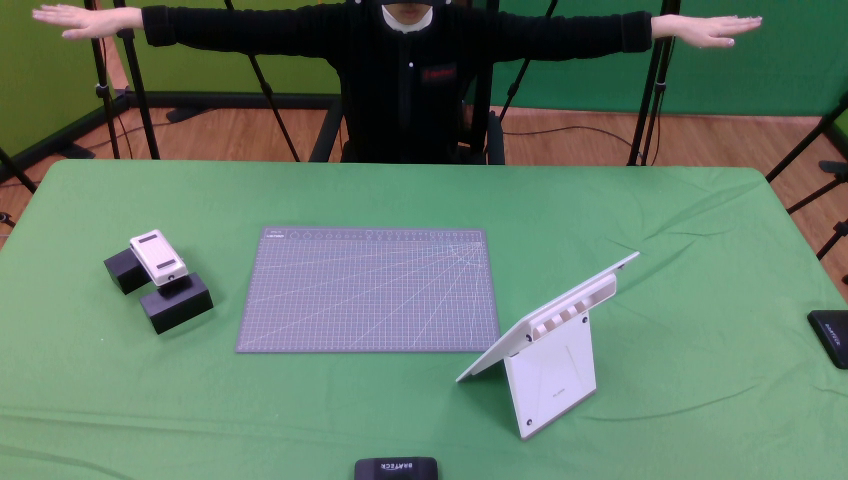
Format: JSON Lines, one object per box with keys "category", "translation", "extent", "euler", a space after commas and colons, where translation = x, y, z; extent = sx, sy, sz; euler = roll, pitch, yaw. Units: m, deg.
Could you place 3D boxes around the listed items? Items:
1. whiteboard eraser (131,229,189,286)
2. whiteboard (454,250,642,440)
{"category": "whiteboard eraser", "translation": [-0.458, 0.032, 1.050], "extent": [0.055, 0.042, 0.112], "euler": [-29, 57, -30]}
{"category": "whiteboard", "translation": [0.206, 0.175, 0.889], "extent": [0.217, 0.306, 0.143], "euler": [-24, 72, -25]}
